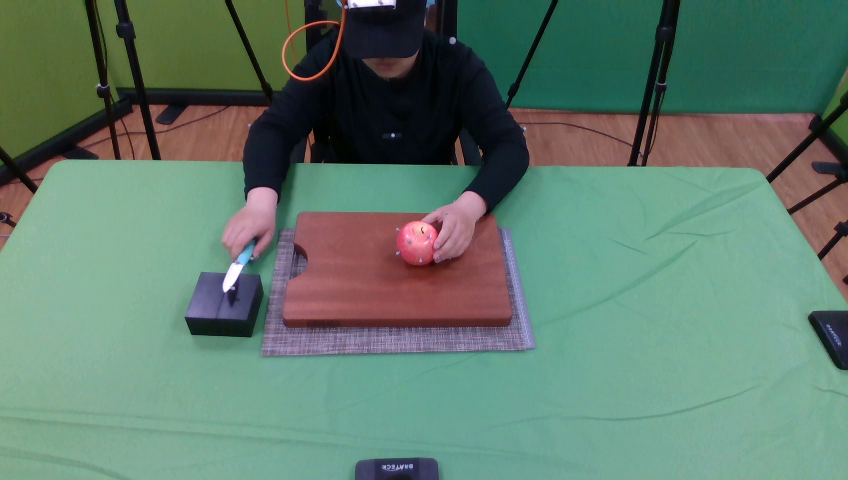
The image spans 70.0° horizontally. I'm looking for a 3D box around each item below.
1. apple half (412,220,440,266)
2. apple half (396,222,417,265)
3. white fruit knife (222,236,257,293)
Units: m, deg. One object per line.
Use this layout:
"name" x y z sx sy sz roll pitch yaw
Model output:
"apple half" 0.003 0.007 1.118 0.053 0.075 0.080 -2 42 -12
"apple half" -0.036 0.009 1.110 0.033 0.081 0.080 -3 46 -12
"white fruit knife" -0.333 0.043 1.094 0.027 0.016 0.206 2 27 -3
